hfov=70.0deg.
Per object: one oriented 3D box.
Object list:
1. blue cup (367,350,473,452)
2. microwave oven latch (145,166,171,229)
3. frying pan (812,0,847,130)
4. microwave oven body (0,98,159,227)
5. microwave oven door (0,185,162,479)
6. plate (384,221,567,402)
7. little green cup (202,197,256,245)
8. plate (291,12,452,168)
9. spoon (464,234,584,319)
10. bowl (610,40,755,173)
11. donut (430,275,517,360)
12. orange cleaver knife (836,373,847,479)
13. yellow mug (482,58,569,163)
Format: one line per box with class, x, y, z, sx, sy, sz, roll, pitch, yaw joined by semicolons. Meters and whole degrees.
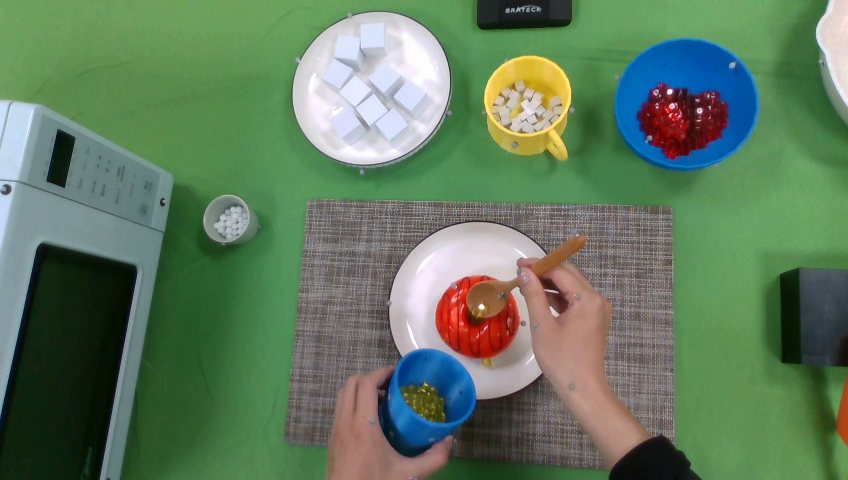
blue cup;-0.012;0.171;0.613;0.093;0.100;0.092;17;51;-22
microwave oven latch;-0.349;-0.055;0.780;0.030;0.029;0.079;7;82;10
frying pan;0.560;-0.106;0.632;0.306;0.103;0.485;7;73;11
microwave oven body;-0.530;0.088;0.683;0.325;0.261;0.440;5;81;9
microwave oven door;-0.393;0.141;0.647;0.039;0.245;0.354;5;80;10
plate;0.059;0.082;0.707;0.209;0.038;0.208;-2;80;9
little green cup;-0.247;-0.021;0.777;0.061;0.039;0.061;-1;81;8
plate;-0.066;-0.190;0.779;0.207;0.039;0.207;-2;80;9
spoon;0.094;0.039;0.594;0.041;0.194;0.021;48;57;1
bowl;0.286;-0.141;0.695;0.151;0.077;0.151;-2;80;9
donut;0.057;0.089;0.694;0.099;0.048;0.099;-1;83;10
orange cleaver knife;0.436;0.191;0.610;0.012;0.077;0.212;1;109;10
yellow mug;0.130;-0.146;0.727;0.100;0.064;0.130;-35;77;2
